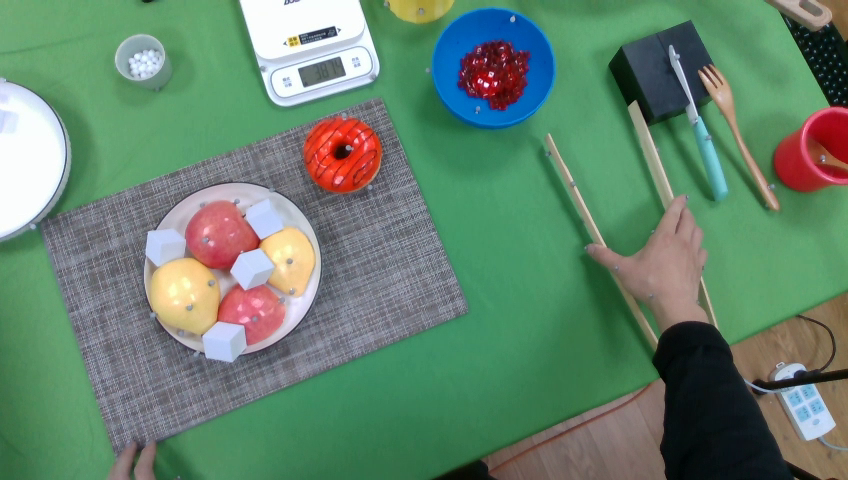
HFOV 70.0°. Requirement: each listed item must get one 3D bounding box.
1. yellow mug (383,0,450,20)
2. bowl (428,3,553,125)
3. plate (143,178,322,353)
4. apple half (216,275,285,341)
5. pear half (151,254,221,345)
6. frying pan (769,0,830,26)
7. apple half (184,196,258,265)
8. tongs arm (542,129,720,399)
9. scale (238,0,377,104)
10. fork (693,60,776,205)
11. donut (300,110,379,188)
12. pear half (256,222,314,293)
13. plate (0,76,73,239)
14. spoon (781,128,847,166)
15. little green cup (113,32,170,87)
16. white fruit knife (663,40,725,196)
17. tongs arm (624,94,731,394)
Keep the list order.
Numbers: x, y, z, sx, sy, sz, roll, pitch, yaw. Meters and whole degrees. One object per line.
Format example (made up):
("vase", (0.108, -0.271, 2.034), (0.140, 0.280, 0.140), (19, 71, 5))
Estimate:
("yellow mug", (-0.023, -0.356, 0.785), (0.130, 0.064, 0.100), (35, 82, 4))
("bowl", (0.079, -0.207, 0.760), (0.151, 0.077, 0.151), (0, 82, -2))
("plate", (-0.225, 0.030, 0.728), (0.209, 0.038, 0.208), (0, 81, -2))
("apple half", (-0.209, 0.079, 0.712), (0.081, 0.033, 0.081), (1, 74, -2))
("pear half", (-0.269, 0.070, 0.698), (0.076, 0.056, 0.109), (-28, 87, -14))
("frying pan", (0.303, -0.419, 0.788), (0.485, 0.103, 0.306), (40, 83, 12))
("apple half", (-0.244, -0.012, 0.716), (0.074, 0.053, 0.080), (-34, 87, -4))
("tongs arm", (0.253, 0.025, 0.753), (0.051, 0.026, 0.383), (-24, 85, -8))
("scale", (-0.156, -0.288, 0.787), (0.149, 0.031, 0.200), (-18, 83, -4))
("fork", (0.398, -0.135, 0.768), (0.028, 0.018, 0.208), (-32, 99, -9))
("donut", (-0.105, -0.112, 0.751), (0.099, 0.048, 0.098), (0, 83, 0))
("pear half", (-0.170, 0.021, 0.725), (0.070, 0.031, 0.087), (-21, 80, 9))
("plate", (-0.532, -0.097, 0.740), (0.208, 0.039, 0.207), (0, 81, -2))
("spoon", (0.511, -0.088, 0.725), (0.041, 0.022, 0.191), (-27, 39, -7))
("little green cup", (-0.354, -0.226, 0.766), (0.061, 0.039, 0.061), (0, 81, -1))
("white fruit knife", (0.337, -0.152, 0.761), (0.016, 0.027, 0.208), (-24, 97, -6))
("tongs arm", (0.315, 0.000, 0.760), (0.028, 0.028, 0.386), (-15, 84, -10))
